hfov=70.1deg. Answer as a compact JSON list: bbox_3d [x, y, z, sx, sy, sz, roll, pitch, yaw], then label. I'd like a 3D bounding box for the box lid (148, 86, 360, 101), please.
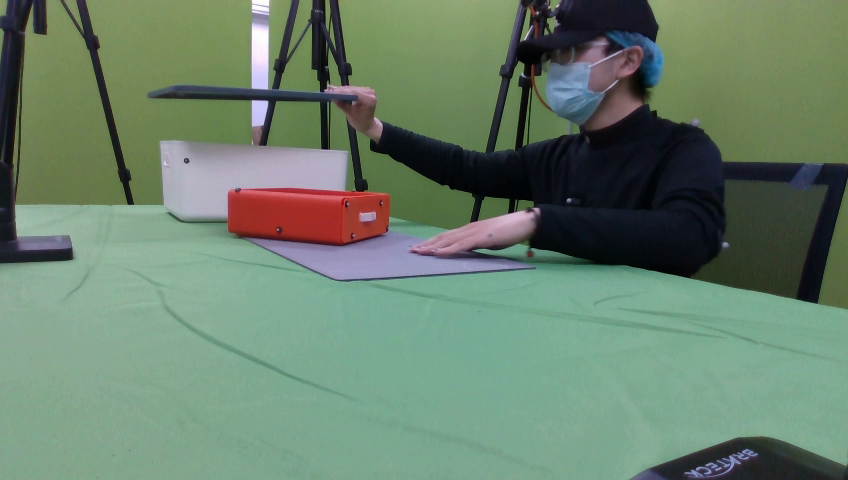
[{"bbox_3d":[-0.343,-0.295,1.234,0.373,0.015,0.262,-8,14,-35],"label":"box lid"}]

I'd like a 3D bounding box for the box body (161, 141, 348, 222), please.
[{"bbox_3d":[-0.379,-0.132,1.353,0.366,0.160,0.253,-2,8,-30],"label":"box body"}]

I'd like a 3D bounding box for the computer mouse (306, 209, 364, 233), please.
[{"bbox_3d":[-0.153,-0.032,1.052,0.062,0.041,0.117,1,0,18],"label":"computer mouse"}]

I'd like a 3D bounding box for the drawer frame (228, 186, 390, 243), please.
[{"bbox_3d":[-0.193,-0.050,1.060,0.213,0.082,0.202,4,8,17],"label":"drawer frame"}]

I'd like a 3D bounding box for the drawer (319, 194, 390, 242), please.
[{"bbox_3d":[-0.189,-0.047,1.061,0.211,0.073,0.195,4,8,18],"label":"drawer"}]
